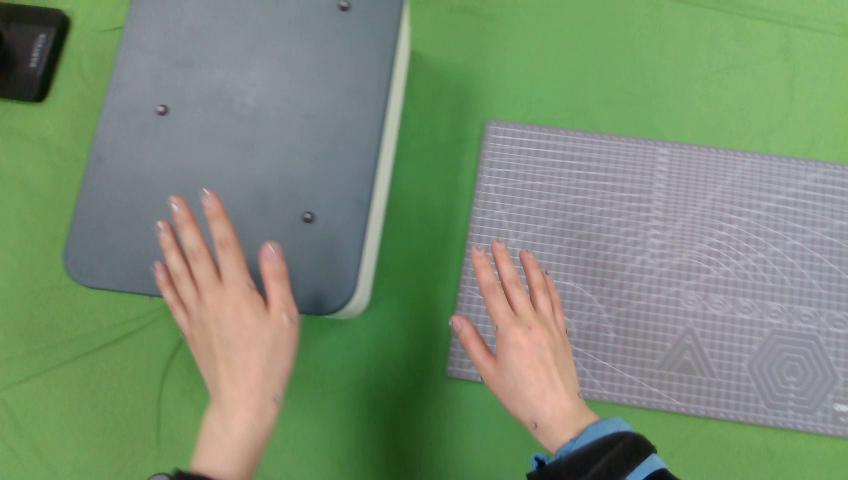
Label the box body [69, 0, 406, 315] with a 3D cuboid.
[{"bbox_3d":[-0.163,-0.112,0.628,0.254,0.161,0.362,7,79,3],"label":"box body"}]

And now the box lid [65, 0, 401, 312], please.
[{"bbox_3d":[-0.166,-0.130,0.556,0.263,0.015,0.370,7,80,4],"label":"box lid"}]
